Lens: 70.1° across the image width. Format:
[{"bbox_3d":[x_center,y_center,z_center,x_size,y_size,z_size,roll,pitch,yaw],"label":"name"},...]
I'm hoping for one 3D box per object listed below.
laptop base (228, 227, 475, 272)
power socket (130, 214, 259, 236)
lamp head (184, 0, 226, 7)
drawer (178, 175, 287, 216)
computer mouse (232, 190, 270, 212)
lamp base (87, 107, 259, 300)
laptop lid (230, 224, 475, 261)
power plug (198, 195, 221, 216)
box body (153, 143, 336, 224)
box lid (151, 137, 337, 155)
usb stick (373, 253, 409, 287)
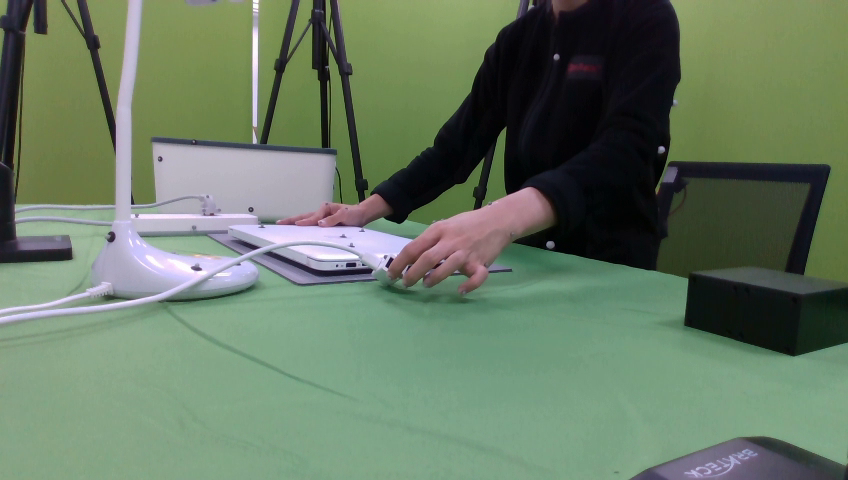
[{"bbox_3d":[-0.122,0.011,0.889,0.237,0.023,0.352,2,6,-35],"label":"laptop base"},{"bbox_3d":[-0.397,-0.028,1.048,0.228,0.032,0.072,-3,7,-35],"label":"power socket"},{"bbox_3d":[-0.229,-0.320,0.627,0.112,0.112,0.123,6,-36,26],"label":"lamp head"},{"bbox_3d":[-0.414,-0.104,1.341,0.212,0.073,0.194,5,6,-11],"label":"drawer"},{"bbox_3d":[-0.382,-0.086,1.342,0.063,0.041,0.117,10,10,-4],"label":"computer mouse"},{"bbox_3d":[-0.254,-0.039,0.603,0.160,0.180,0.179,5,10,18],"label":"lamp base"},{"bbox_3d":[-0.119,0.000,0.889,0.243,0.013,0.355,1,7,-33],"label":"laptop lid"},{"bbox_3d":[-0.386,-0.055,1.088,0.035,0.052,0.072,-1,6,-24],"label":"power plug"},{"bbox_3d":[-0.380,-0.130,1.344,0.365,0.160,0.253,1,7,-9],"label":"box body"},{"bbox_3d":[-0.379,-0.203,1.334,0.372,0.015,0.262,2,7,-9],"label":"box lid"},{"bbox_3d":[-0.039,0.035,0.663,0.027,0.021,0.059,28,-22,-7],"label":"usb stick"}]
